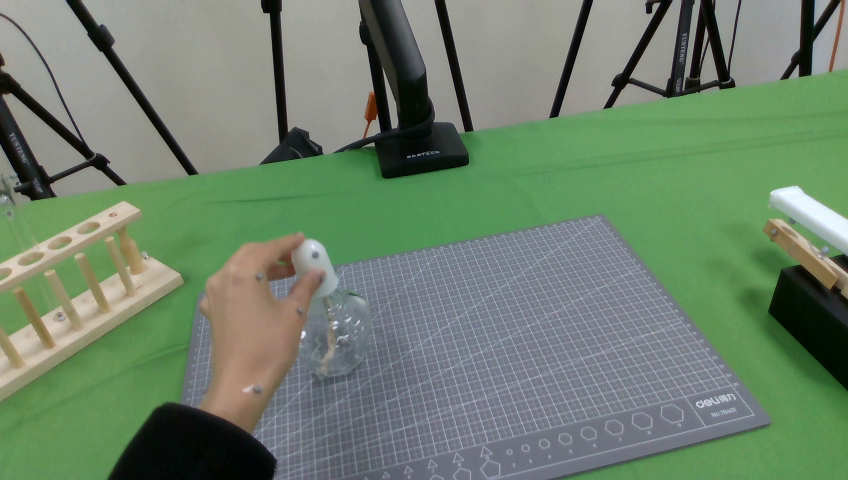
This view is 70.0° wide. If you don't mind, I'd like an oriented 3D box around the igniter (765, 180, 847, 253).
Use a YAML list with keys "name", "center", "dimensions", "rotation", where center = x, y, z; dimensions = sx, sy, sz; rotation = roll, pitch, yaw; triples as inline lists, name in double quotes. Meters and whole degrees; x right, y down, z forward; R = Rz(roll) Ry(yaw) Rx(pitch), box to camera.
- name: "igniter"
  center: [0.379, 0.020, 0.488]
  dimensions: [0.057, 0.025, 0.273]
  rotation: [-12, 33, -6]

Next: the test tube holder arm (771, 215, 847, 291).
- name: "test tube holder arm"
  center: [0.337, 0.031, 0.485]
  dimensions: [0.013, 0.015, 0.176]
  rotation: [-10, 36, -11]

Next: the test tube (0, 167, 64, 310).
- name: "test tube"
  center: [-0.370, 0.003, 0.566]
  dimensions: [0.017, 0.151, 0.017]
  rotation: [-3, 30, 2]

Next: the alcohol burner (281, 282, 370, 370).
- name: "alcohol burner"
  center: [-0.086, 0.053, 0.512]
  dimensions: [0.078, 0.120, 0.077]
  rotation: [-3, 38, 2]

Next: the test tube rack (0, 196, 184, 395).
- name: "test tube rack"
  center: [-0.363, 0.058, 0.575]
  dimensions: [0.066, 0.086, 0.242]
  rotation: [22, 45, 32]

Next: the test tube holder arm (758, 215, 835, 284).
- name: "test tube holder arm"
  center: [0.321, 0.007, 0.520]
  dimensions: [0.010, 0.015, 0.087]
  rotation: [-9, 36, -10]

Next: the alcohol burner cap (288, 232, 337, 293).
- name: "alcohol burner cap"
  center: [-0.091, 0.015, 0.485]
  dimensions: [0.034, 0.048, 0.033]
  rotation: [-6, 38, 5]
